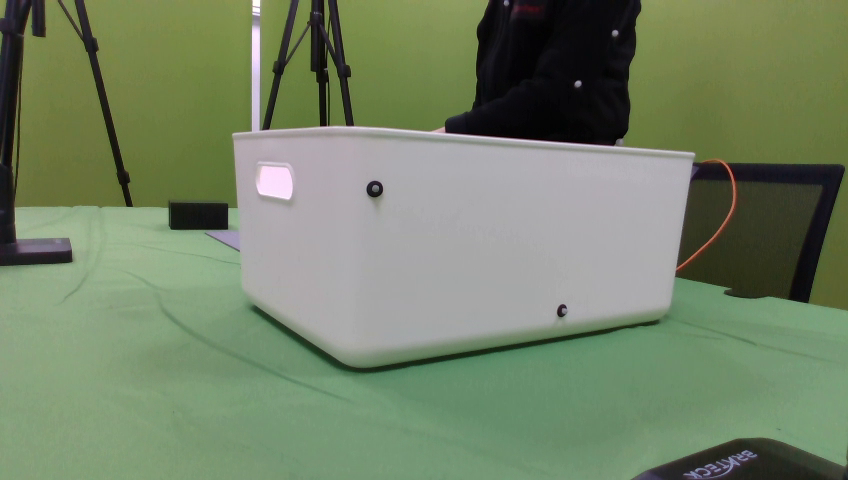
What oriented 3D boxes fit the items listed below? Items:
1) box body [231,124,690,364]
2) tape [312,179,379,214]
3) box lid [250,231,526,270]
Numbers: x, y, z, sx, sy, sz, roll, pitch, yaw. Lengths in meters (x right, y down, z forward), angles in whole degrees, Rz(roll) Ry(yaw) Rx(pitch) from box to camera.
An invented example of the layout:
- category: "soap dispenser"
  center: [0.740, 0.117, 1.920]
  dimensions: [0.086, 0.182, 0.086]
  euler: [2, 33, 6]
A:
- category: "box body"
  center: [0.031, -0.013, 0.563]
  dimensions: [0.366, 0.160, 0.253]
  euler: [-3, 8, -33]
- category: "tape"
  center: [-0.136, -0.077, 1.054]
  dimensions: [0.117, 0.052, 0.117]
  euler: [2, 10, 0]
- category: "box lid"
  center: [-0.057, 0.012, 0.934]
  dimensions: [0.373, 0.015, 0.262]
  euler: [-2, 8, -32]
